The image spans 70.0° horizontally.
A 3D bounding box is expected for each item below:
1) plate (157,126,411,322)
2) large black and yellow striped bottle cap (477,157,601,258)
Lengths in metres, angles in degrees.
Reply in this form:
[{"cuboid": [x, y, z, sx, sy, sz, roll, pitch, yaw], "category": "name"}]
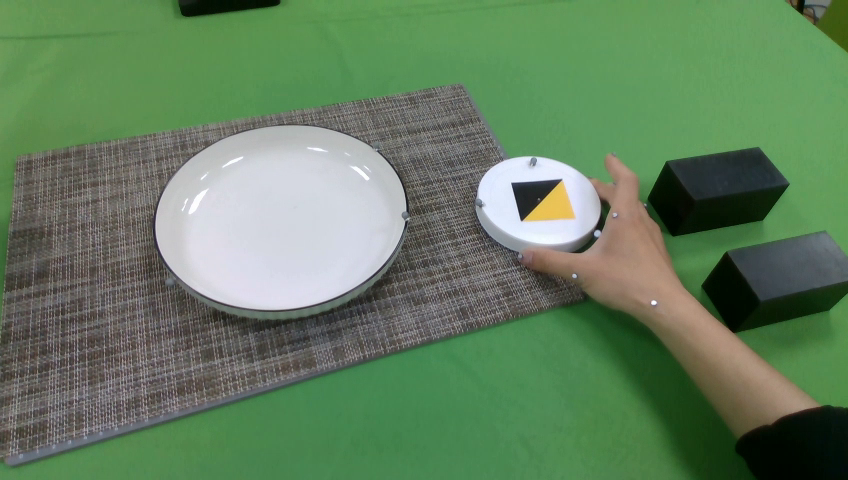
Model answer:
[{"cuboid": [-0.115, -0.016, 0.519, 0.208, 0.039, 0.205, 3, 51, -3], "category": "plate"}, {"cuboid": [0.107, -0.033, 0.563, 0.115, 0.019, 0.114, 3, 51, -3], "category": "large black and yellow striped bottle cap"}]
